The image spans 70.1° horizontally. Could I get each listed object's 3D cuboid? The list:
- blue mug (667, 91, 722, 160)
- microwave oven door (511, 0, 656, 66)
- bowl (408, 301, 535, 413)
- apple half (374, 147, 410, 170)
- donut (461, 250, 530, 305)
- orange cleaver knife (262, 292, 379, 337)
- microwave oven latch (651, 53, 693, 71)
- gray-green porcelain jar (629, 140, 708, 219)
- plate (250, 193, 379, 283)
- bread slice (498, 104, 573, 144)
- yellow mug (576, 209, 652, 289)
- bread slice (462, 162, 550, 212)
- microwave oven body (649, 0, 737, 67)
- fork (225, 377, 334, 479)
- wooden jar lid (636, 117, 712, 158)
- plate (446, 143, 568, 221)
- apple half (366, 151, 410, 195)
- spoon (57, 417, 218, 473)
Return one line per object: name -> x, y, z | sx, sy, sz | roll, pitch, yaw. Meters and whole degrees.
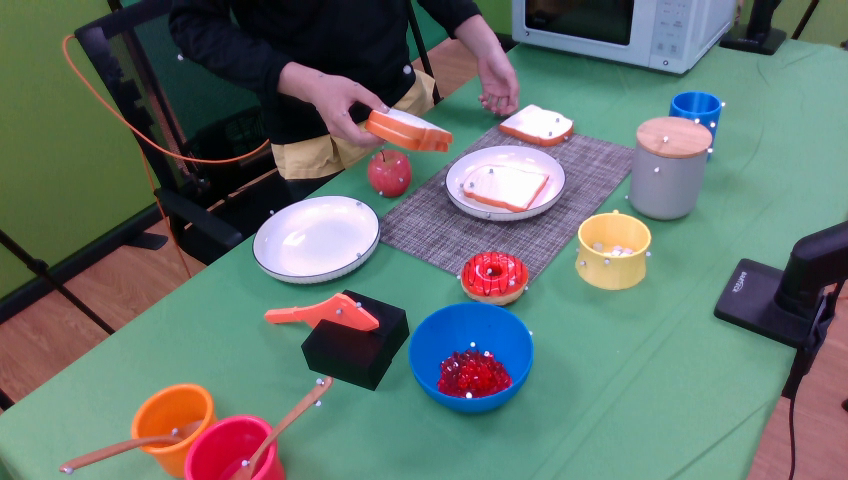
blue mug -> 0.474, -0.207, 1.079 | 0.082, 0.106, 0.116 | 4, 42, 13
microwave oven door -> 0.351, -0.540, 1.349 | 0.353, 0.245, 0.039 | 24, 50, 31
bowl -> 0.060, 0.156, 0.739 | 0.151, 0.077, 0.150 | -4, 40, 4
apple half -> -0.052, -0.140, 1.100 | 0.081, 0.081, 0.033 | 17, 51, 26
donut -> 0.103, 0.053, 0.872 | 0.099, 0.048, 0.098 | -4, 40, 4
orange cleaver knife -> -0.145, 0.107, 0.821 | 0.210, 0.077, 0.012 | -13, 36, 43
microwave oven latch -> 0.532, -0.386, 1.301 | 0.078, 0.029, 0.030 | 27, 52, 34
gray-green porcelain jar -> 0.383, -0.105, 0.958 | 0.106, 0.127, 0.105 | -4, 41, 4
plate -> -0.174, -0.001, 0.984 | 0.209, 0.038, 0.208 | -4, 41, 4
bread slice -> 0.231, -0.232, 1.205 | 0.105, 0.019, 0.130 | -36, 47, -29
yellow mug -> 0.279, 0.004, 0.893 | 0.099, 0.064, 0.130 | 5, 42, 14
bread slice -> 0.135, -0.094, 1.044 | 0.133, 0.018, 0.107 | 15, 45, 23
microwave oven body -> 0.475, -0.602, 1.411 | 0.438, 0.261, 0.327 | 23, 50, 32
fork -> -0.163, 0.216, 0.647 | 0.207, 0.019, 0.028 | -49, 42, 16
wooden jar lid -> 0.377, -0.151, 0.917 | 0.108, 0.021, 0.108 | -2, 42, 3
plate -> 0.142, -0.097, 1.045 | 0.207, 0.039, 0.206 | -4, 40, 4
apple half -> -0.070, -0.114, 1.075 | 0.080, 0.075, 0.053 | 17, 51, 23
spoon -> -0.304, 0.221, 0.661 | 0.041, 0.195, 0.021 | 19, 92, 27
